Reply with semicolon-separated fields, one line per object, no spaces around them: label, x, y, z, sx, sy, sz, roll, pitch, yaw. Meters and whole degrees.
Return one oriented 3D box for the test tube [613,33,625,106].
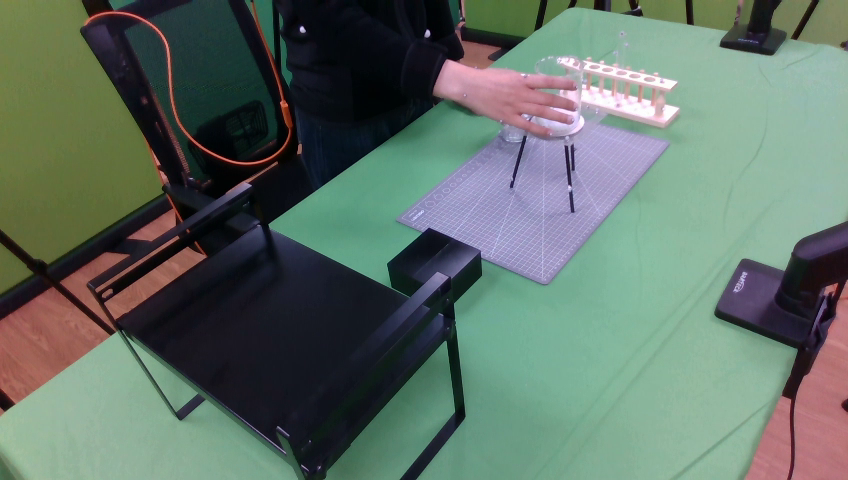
test tube;0.380;-0.330;1.180;0.017;0.151;0.017;-7;41;6

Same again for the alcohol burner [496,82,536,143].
alcohol burner;0.177;-0.250;1.168;0.078;0.119;0.077;-5;42;5

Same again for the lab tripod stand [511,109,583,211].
lab tripod stand;0.220;-0.138;1.014;0.148;0.132;0.147;-3;41;3

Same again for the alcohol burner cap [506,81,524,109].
alcohol burner cap;0.173;-0.277;1.145;0.034;0.048;0.033;0;40;0

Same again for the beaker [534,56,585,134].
beaker;0.209;-0.226;0.942;0.074;0.101;0.083;-2;41;8

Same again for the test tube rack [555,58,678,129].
test tube rack;0.390;-0.307;1.229;0.240;0.085;0.067;25;50;33

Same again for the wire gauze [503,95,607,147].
wire gauze;0.211;-0.191;0.976;0.120;0.011;0.125;24;52;32
